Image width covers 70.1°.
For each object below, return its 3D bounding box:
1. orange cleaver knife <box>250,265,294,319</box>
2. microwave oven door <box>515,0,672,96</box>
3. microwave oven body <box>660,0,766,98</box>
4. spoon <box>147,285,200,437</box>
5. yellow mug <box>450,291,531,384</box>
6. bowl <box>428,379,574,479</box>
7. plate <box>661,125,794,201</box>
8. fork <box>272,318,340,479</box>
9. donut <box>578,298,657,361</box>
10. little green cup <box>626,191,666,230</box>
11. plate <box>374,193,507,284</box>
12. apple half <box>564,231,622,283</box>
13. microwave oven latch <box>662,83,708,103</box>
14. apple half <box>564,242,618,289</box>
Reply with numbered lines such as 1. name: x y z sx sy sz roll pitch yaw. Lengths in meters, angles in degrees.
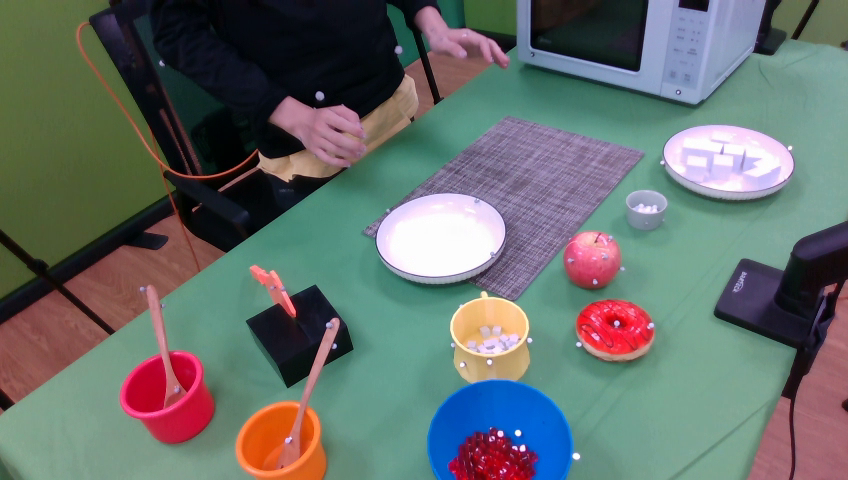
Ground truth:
1. orange cleaver knife: -0.221 0.073 0.876 0.012 0.077 0.210 -24 12 -22
2. microwave oven door: 0.343 -0.455 1.259 0.353 0.245 0.039 26 51 33
3. microwave oven body: 0.472 -0.513 1.317 0.438 0.261 0.327 26 51 34
4. spoon: -0.318 0.148 0.754 0.042 0.021 0.193 -15 85 -10
5. yellow mug: 0.085 0.120 0.786 0.100 0.064 0.130 -7 39 1
6. bowl: 0.082 0.233 0.644 0.151 0.077 0.150 -4 39 4
7. plate: 0.513 -0.128 1.035 0.207 0.039 0.206 -4 40 4
8. fork: -0.131 0.186 0.676 0.028 0.019 0.207 18 90 28
9. donut: 0.250 0.115 0.786 0.099 0.048 0.098 -5 37 4
10. little green cup: 0.352 -0.046 0.963 0.061 0.039 0.061 -4 40 4
11. plate: 0.027 0.000 0.952 0.209 0.038 0.208 -4 40 4
12. apple half: 0.248 0.021 0.874 0.080 0.075 0.053 13 40 28
13. microwave oven latch: 0.518 -0.296 1.204 0.078 0.029 0.030 28 52 35
14. apple half: 0.229 0.044 0.848 0.081 0.081 0.033 16 41 26
